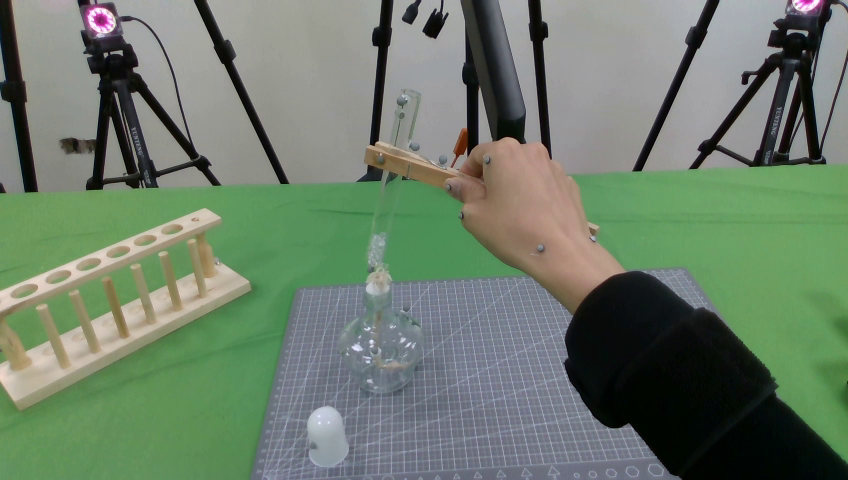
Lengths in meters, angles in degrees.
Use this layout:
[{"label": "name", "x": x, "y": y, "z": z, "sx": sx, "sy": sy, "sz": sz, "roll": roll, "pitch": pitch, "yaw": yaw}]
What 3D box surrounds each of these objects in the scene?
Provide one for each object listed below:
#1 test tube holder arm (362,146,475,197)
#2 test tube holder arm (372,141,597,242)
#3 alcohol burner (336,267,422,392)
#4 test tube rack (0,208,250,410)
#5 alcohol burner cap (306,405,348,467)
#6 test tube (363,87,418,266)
[{"label": "test tube holder arm", "x": -0.004, "y": -0.050, "z": 0.444, "sx": 0.087, "sy": 0.015, "sz": 0.010, "roll": 18, "pitch": 33, "yaw": 11}, {"label": "test tube holder arm", "x": 0.038, "y": -0.037, "z": 0.437, "sx": 0.177, "sy": 0.015, "sz": 0.013, "roll": 22, "pitch": 35, "yaw": 18}, {"label": "alcohol burner", "x": -0.041, "y": 0.076, "z": 0.538, "sx": 0.078, "sy": 0.120, "sz": 0.077, "roll": -1, "pitch": 30, "yaw": 1}, {"label": "test tube rack", "x": -0.306, "y": 0.058, "z": 0.613, "sx": 0.066, "sy": 0.086, "sz": 0.242, "roll": 25, "pitch": 41, "yaw": 36}, {"label": "alcohol burner cap", "x": -0.080, "y": 0.153, "z": 0.484, "sx": 0.034, "sy": 0.048, "sz": 0.033, "roll": -1, "pitch": 32, "yaw": 1}, {"label": "test tube", "x": -0.027, "y": -0.043, "z": 0.464, "sx": 0.017, "sy": 0.151, "sz": 0.017, "roll": 11, "pitch": 30, "yaw": -6}]
